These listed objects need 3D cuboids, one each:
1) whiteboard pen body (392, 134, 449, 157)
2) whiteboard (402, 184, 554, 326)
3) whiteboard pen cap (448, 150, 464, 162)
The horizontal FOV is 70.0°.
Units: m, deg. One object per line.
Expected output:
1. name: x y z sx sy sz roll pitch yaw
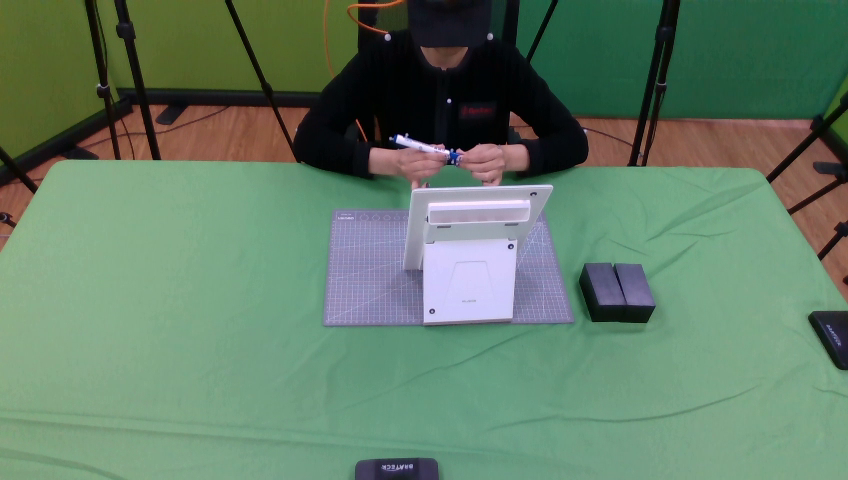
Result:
1. whiteboard pen body: 0.005 -0.184 1.198 0.141 0.017 0.017 16 46 -9
2. whiteboard: 0.081 0.044 1.005 0.217 0.306 0.143 -1 66 -6
3. whiteboard pen cap: 0.062 -0.168 1.207 0.033 0.018 0.018 14 46 -6
